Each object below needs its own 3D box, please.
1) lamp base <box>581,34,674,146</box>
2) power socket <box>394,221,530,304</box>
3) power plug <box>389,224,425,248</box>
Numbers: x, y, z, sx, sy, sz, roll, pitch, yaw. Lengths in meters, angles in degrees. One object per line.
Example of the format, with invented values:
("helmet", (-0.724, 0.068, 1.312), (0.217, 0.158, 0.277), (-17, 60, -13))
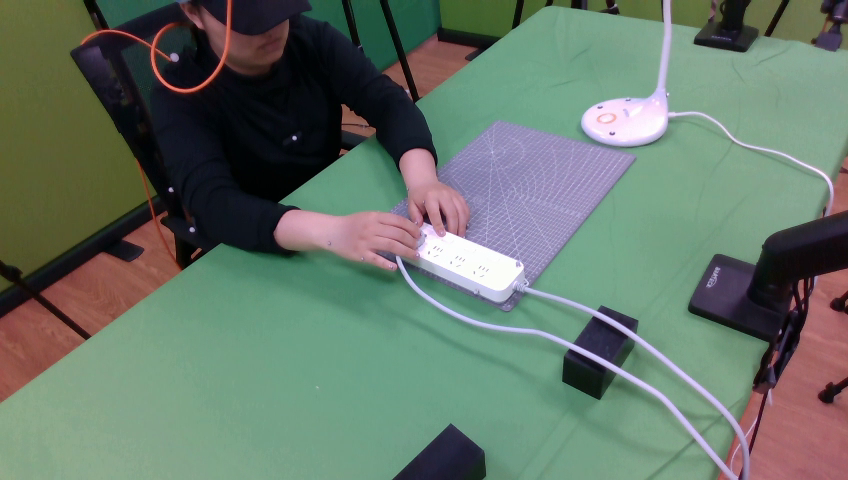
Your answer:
("lamp base", (0.392, -0.291, 1.129), (0.180, 0.181, 0.159), (-11, 41, -8))
("power socket", (0.050, 0.030, 0.914), (0.225, 0.033, 0.072), (24, 51, 31))
("power plug", (-0.031, 0.003, 0.920), (0.073, 0.053, 0.035), (-30, 47, -26))
